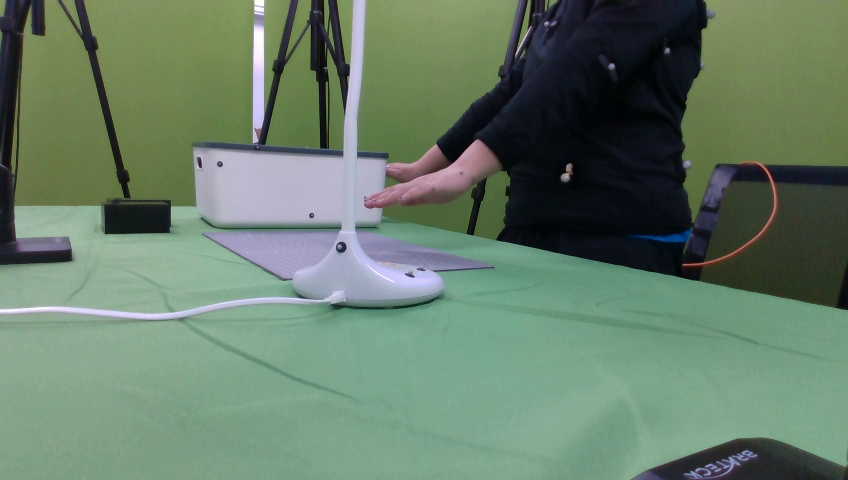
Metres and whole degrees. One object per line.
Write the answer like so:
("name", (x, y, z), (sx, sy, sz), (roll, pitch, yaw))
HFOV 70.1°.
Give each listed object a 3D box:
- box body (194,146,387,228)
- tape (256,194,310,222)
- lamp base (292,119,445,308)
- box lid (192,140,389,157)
("box body", (-0.288, -0.118, 1.291), (0.366, 0.160, 0.253), (-1, 8, -28))
("tape", (-0.301, -0.069, 1.294), (0.117, 0.052, 0.117), (2, 7, 0))
("lamp base", (-0.056, -0.030, 0.616), (0.160, 0.180, 0.179), (4, 10, 8))
("box lid", (-0.287, -0.191, 1.281), (0.373, 0.015, 0.262), (0, 8, -28))
